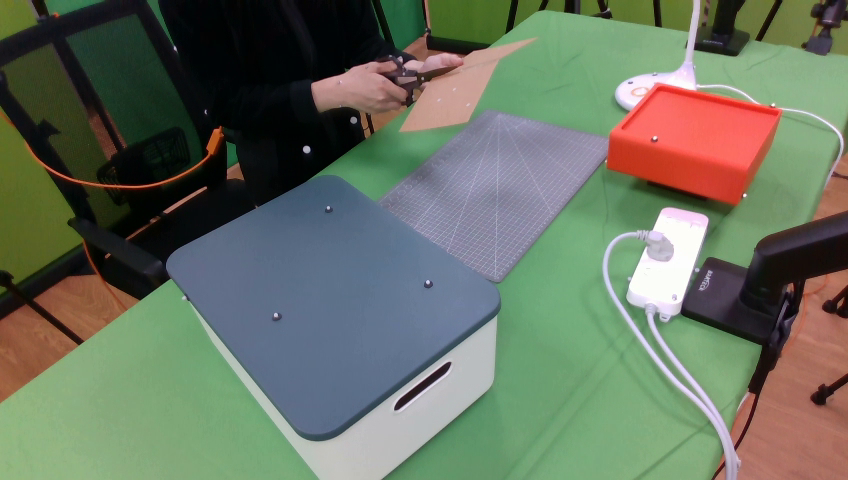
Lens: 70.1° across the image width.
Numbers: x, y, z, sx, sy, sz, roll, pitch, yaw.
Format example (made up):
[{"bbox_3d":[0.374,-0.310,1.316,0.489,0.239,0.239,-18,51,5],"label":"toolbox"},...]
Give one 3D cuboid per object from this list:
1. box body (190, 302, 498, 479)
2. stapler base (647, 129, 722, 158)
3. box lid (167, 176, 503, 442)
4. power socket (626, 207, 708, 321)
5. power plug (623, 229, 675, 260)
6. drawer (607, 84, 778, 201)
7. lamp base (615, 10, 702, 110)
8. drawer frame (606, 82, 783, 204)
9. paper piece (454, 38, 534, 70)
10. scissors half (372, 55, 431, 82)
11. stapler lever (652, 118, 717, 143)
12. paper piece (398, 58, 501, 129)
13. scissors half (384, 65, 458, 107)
[{"bbox_3d":[-0.110,0.103,0.761,0.255,0.161,0.361,-33,46,-27],"label":"box body"},{"bbox_3d":[0.439,-0.167,1.023,0.131,0.024,0.041,-16,25,-15],"label":"stapler base"},{"bbox_3d":[-0.119,0.047,0.714,0.264,0.015,0.368,-32,47,-27],"label":"box lid"},{"bbox_3d":[0.360,0.026,0.886,0.072,0.033,0.227,16,46,26],"label":"power socket"},{"bbox_3d":[0.327,0.007,0.878,0.072,0.053,0.035,25,51,32],"label":"power plug"},{"bbox_3d":[0.438,-0.167,0.995,0.210,0.073,0.195,23,48,30],"label":"drawer"},{"bbox_3d":[0.484,-0.364,1.211,0.180,0.181,0.159,-15,41,-14],"label":"lamp base"},{"bbox_3d":[0.441,-0.167,0.995,0.212,0.083,0.202,23,48,30],"label":"drawer frame"},{"bbox_3d":[0.101,-0.304,0.998,0.137,0.009,0.136,-1,25,42],"label":"paper piece"},{"bbox_3d":[-0.014,-0.281,1.007,0.174,0.040,0.013,18,51,24],"label":"scissors half"},{"bbox_3d":[0.436,-0.192,1.014,0.118,0.040,0.026,-15,25,-16],"label":"stapler lever"},{"bbox_3d":[0.037,-0.221,0.921,0.134,0.004,0.135,2,53,42],"label":"paper piece"},{"bbox_3d":[-0.005,-0.262,1.019,0.174,0.040,0.013,-15,26,47],"label":"scissors half"}]
